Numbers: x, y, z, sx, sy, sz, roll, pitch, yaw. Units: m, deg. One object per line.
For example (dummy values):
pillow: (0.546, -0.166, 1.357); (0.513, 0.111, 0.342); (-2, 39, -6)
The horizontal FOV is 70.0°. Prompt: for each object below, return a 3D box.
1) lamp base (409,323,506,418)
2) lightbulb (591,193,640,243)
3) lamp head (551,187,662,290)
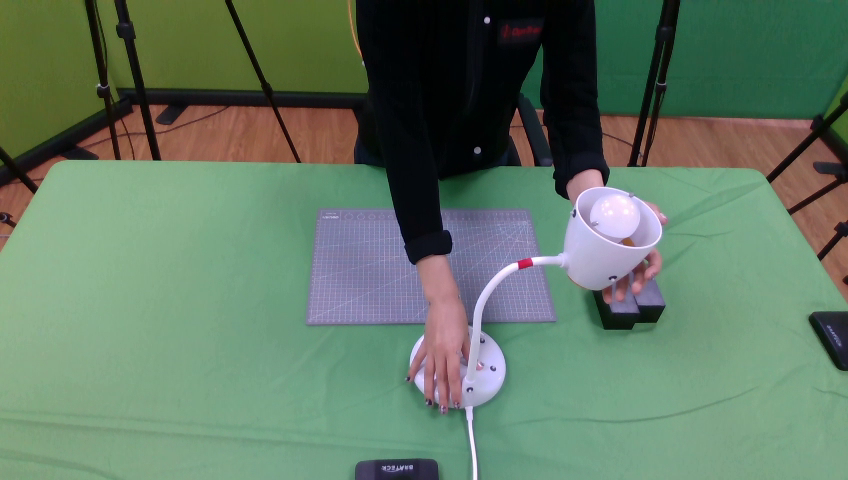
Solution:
lamp base: (0.063, 0.161, 0.940); (0.161, 0.181, 0.178); (-10, 50, -13)
lightbulb: (0.238, -0.012, 0.781); (0.059, 0.108, 0.059); (7, 40, -5)
lamp head: (0.229, 0.008, 0.792); (0.112, 0.123, 0.111); (12, 43, -11)
